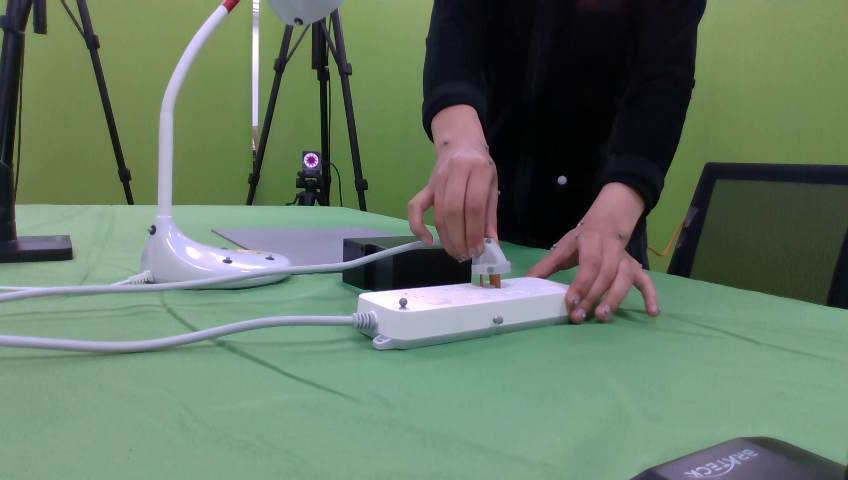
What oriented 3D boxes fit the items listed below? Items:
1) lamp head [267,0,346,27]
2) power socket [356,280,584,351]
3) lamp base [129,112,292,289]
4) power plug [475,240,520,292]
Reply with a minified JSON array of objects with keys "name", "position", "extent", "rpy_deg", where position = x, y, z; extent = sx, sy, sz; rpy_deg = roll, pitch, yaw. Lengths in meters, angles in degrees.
[{"name":"lamp head","position":[-0.157,-0.326,0.701],"extent":[0.112,0.112,0.123],"rpy_deg":[6,-16,26]},{"name":"power socket","position":[0.046,0.060,0.521],"extent":[0.228,0.032,0.072],"rpy_deg":[-2,7,-35]},{"name":"lamp base","position":[-0.233,-0.045,0.658],"extent":[0.160,0.180,0.180],"rpy_deg":[7,10,29]},{"name":"power plug","position":[0.058,0.028,0.527],"extent":[0.035,0.052,0.073],"rpy_deg":[-21,2,35]}]
